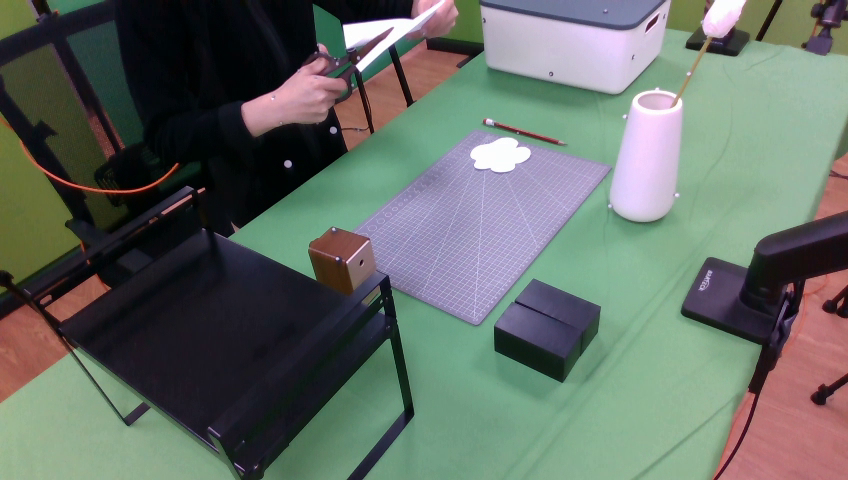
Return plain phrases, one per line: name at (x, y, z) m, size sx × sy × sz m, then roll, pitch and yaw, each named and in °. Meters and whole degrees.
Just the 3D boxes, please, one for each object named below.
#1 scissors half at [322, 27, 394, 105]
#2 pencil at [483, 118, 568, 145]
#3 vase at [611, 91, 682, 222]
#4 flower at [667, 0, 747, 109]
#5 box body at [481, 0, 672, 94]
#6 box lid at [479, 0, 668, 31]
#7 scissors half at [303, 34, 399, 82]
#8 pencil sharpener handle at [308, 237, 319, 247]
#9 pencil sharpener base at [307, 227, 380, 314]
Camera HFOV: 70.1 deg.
scissors half at (-0.100, -0.264, 0.923) m, size 0.040 × 0.174 × 0.013 m, roll 40°, pitch 39°, yaw -14°
pencil at (0.201, -0.217, 1.212) m, size 0.192 × 0.012 × 0.012 m, roll 24°, pitch 49°, yaw 29°
vase at (0.348, -0.125, 0.935) m, size 0.098 × 0.201 × 0.097 m, roll -3°, pitch 40°, yaw 3°
flower at (0.354, -0.187, 0.879) m, size 0.038 × 0.362 × 0.044 m, roll 30°, pitch 48°, yaw 14°
box body at (0.341, -0.480, 1.381) m, size 0.361 × 0.161 × 0.255 m, roll 22°, pitch 48°, yaw 30°
box lid at (0.335, -0.536, 1.331) m, size 0.368 × 0.015 × 0.264 m, roll 23°, pitch 49°, yaw 30°
scissors half at (-0.113, -0.280, 0.915) m, size 0.174 × 0.040 × 0.013 m, roll -11°, pitch 37°, yaw 25°
pencil sharpener handle at (-0.159, 0.017, 0.892) m, size 0.030 × 0.068 × 0.036 m, roll 18°, pitch 60°, yaw 28°
pencil sharpener base at (-0.116, 0.043, 0.875) m, size 0.076 × 0.107 × 0.061 m, roll 18°, pitch 47°, yaw 27°
